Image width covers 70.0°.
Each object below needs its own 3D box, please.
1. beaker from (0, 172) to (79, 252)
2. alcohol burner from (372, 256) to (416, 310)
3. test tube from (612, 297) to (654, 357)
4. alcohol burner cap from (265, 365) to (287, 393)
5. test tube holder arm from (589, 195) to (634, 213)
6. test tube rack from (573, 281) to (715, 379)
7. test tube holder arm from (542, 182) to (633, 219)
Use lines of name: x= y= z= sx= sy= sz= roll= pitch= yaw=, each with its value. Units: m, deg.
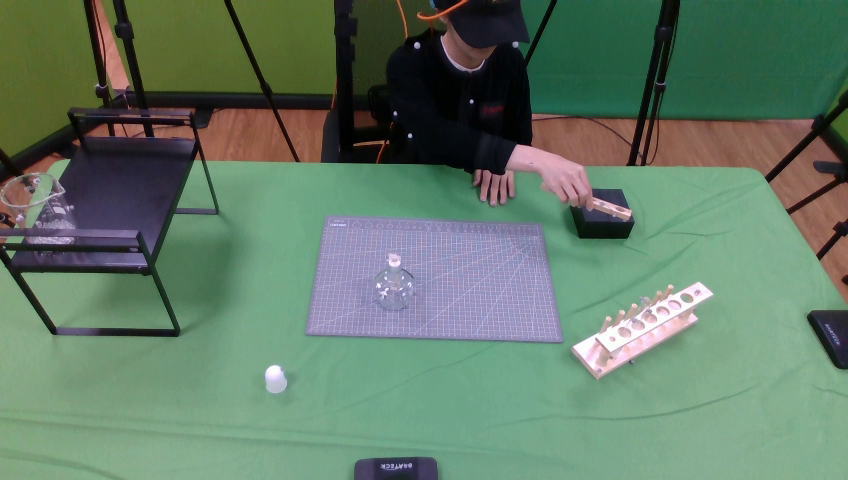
beaker: x=-0.557 y=-0.038 z=0.889 sx=0.084 sy=0.101 sz=0.073 roll=-3 pitch=47 yaw=-8
alcohol burner: x=-0.052 y=0.068 z=1.057 sx=0.078 sy=0.120 sz=0.077 roll=1 pitch=48 yaw=-1
test tube: x=0.329 y=0.142 z=0.964 sx=0.017 sy=0.151 sz=0.017 roll=5 pitch=46 yaw=-5
alcohol burner cap: x=-0.236 y=0.216 z=0.956 sx=0.034 sy=0.048 sz=0.033 roll=3 pitch=45 yaw=-3
test tube holder arm: x=0.360 y=-0.065 z=1.168 sx=0.087 sy=0.015 sz=0.010 roll=20 pitch=48 yaw=12
test tube rack: x=0.378 y=0.140 z=1.038 sx=0.242 sy=0.085 sz=0.066 roll=-22 pitch=51 yaw=-23
test tube holder arm: x=0.316 y=-0.077 z=1.174 sx=0.178 sy=0.015 sz=0.013 roll=20 pitch=48 yaw=11
